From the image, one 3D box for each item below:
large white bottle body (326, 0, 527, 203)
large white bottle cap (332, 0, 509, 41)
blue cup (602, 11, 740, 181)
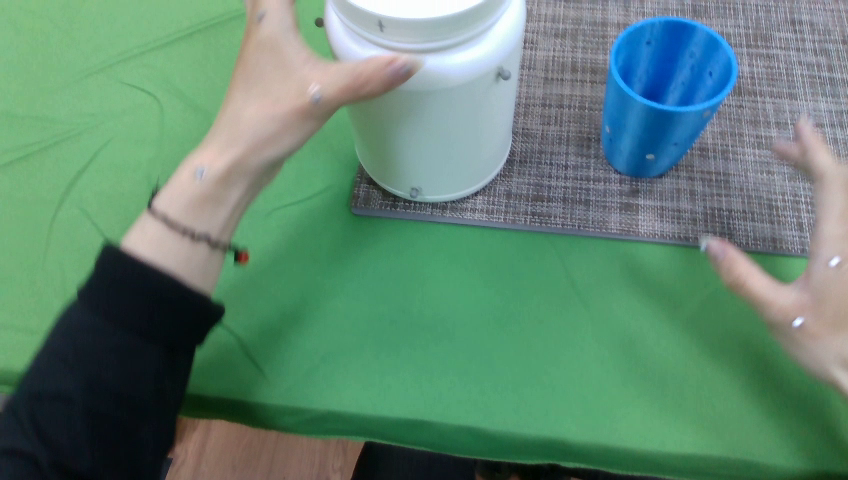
[{"bbox_3d":[0.004,-0.125,0.431,0.130,0.186,0.129,-1,63,3],"label":"large white bottle body"},{"bbox_3d":[-0.001,-0.164,0.356,0.115,0.018,0.114,-1,63,2],"label":"large white bottle cap"},{"bbox_3d":[0.174,-0.096,0.455,0.092,0.101,0.092,-2,61,4],"label":"blue cup"}]
